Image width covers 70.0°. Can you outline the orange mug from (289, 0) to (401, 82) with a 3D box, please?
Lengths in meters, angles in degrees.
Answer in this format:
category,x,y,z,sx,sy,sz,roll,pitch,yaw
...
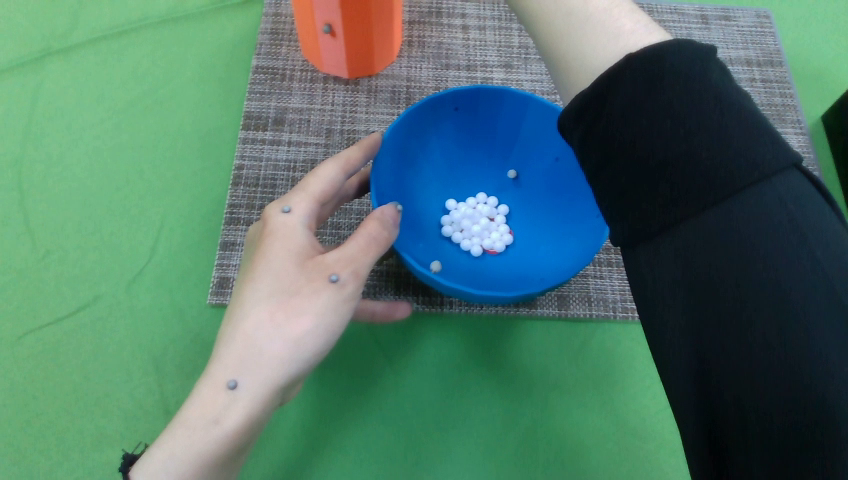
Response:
category,x,y,z,sx,sy,sz,roll,pitch,yaw
orange mug,-0.057,-0.204,0.472,0.083,0.101,0.125,13,69,4

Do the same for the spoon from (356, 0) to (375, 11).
category,x,y,z,sx,sy,sz,roll,pitch,yaw
spoon,-0.042,-0.208,0.397,0.021,0.194,0.041,33,82,6

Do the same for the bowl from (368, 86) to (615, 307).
category,x,y,z,sx,sy,sz,roll,pitch,yaw
bowl,0.040,-0.017,0.399,0.151,0.077,0.150,2,64,-3
